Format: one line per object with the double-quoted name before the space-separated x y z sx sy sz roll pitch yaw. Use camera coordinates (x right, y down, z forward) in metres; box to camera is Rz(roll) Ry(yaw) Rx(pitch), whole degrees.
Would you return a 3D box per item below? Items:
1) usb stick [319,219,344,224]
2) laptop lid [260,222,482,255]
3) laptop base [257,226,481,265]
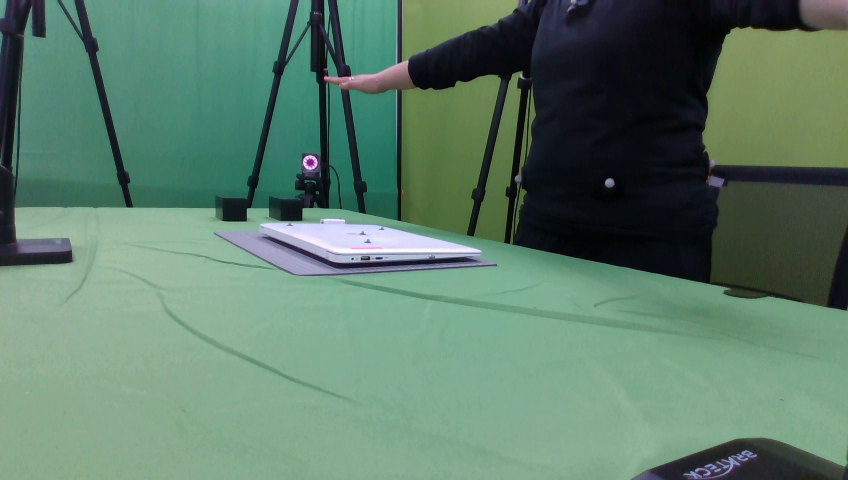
"usb stick" -0.184 -0.027 1.153 0.059 0.027 0.021 -5 14 -31
"laptop lid" -0.100 -0.005 0.962 0.243 0.013 0.355 1 7 -30
"laptop base" -0.102 0.007 0.962 0.237 0.023 0.352 2 6 -32
